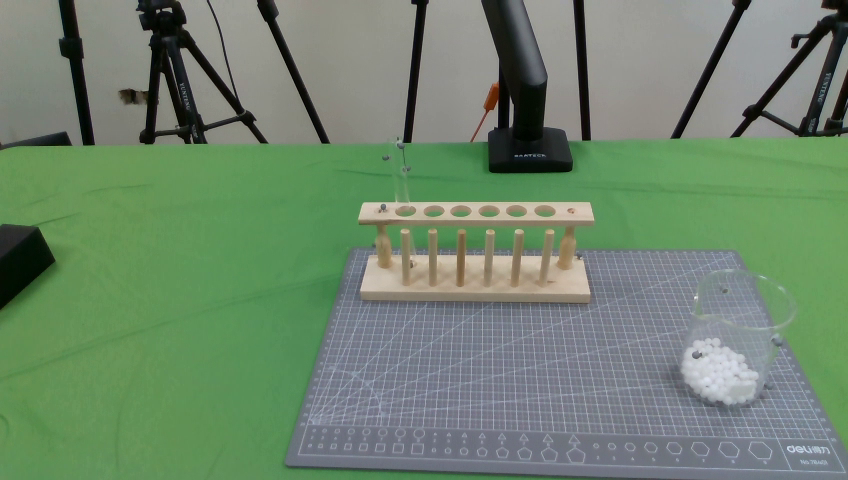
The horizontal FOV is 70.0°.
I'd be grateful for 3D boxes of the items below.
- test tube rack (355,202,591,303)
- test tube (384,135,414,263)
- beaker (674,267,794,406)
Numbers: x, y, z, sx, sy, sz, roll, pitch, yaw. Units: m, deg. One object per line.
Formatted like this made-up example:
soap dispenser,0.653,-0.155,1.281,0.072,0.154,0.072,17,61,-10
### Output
test tube rack,0.050,0.013,0.644,0.242,0.086,0.066,0,36,5
test tube,-0.025,-0.039,0.635,0.017,0.151,0.017,-4,33,3
beaker,0.256,0.086,0.516,0.084,0.101,0.073,-11,36,-9
